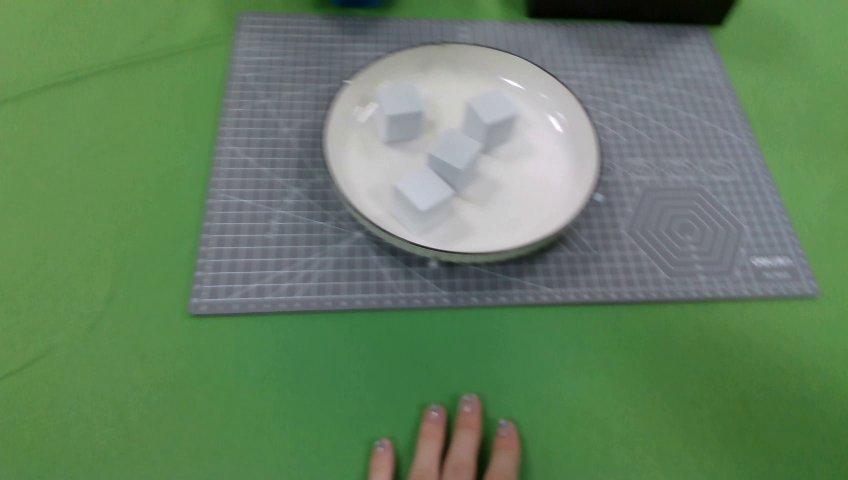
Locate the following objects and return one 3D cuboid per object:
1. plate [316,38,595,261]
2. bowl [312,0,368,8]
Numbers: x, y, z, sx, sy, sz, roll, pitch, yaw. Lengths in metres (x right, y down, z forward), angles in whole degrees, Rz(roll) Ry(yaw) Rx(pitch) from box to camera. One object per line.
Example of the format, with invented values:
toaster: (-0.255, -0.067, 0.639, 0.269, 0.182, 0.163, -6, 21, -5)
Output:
plate: (0.024, -0.070, 0.464, 0.208, 0.039, 0.205, 3, 59, -4)
bowl: (-0.080, -0.270, 0.555, 0.151, 0.077, 0.150, 2, 59, -3)
